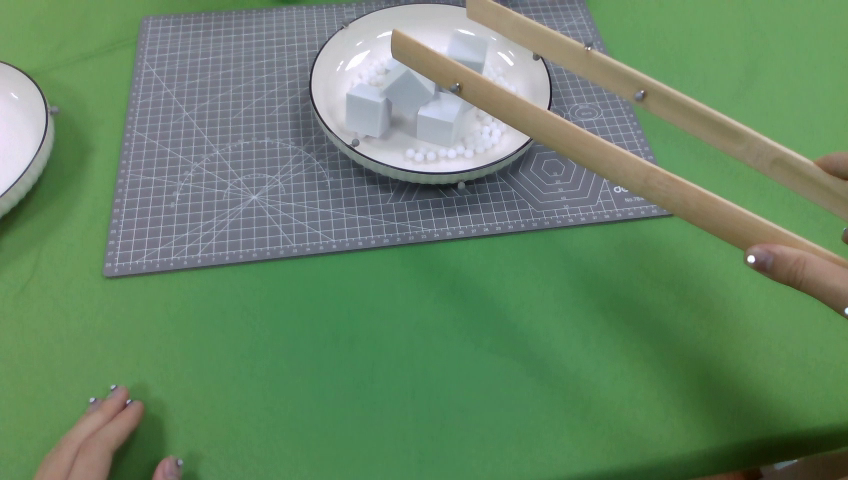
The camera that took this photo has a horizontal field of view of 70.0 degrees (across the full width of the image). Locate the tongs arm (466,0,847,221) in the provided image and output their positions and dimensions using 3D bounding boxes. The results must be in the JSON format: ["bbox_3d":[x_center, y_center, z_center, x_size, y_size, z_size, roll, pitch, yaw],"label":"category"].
[{"bbox_3d":[0.159,-0.079,0.402,0.381,0.027,0.050,36,58,25],"label":"tongs arm"}]

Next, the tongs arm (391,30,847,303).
[{"bbox_3d":[0.125,-0.052,0.380,0.384,0.028,0.028,33,53,24],"label":"tongs arm"}]

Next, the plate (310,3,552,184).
[{"bbox_3d":[0.006,-0.129,0.533,0.209,0.038,0.207,1,58,-1],"label":"plate"}]

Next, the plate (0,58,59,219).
[{"bbox_3d":[-0.398,-0.066,0.483,0.208,0.039,0.205,1,58,-1],"label":"plate"}]
